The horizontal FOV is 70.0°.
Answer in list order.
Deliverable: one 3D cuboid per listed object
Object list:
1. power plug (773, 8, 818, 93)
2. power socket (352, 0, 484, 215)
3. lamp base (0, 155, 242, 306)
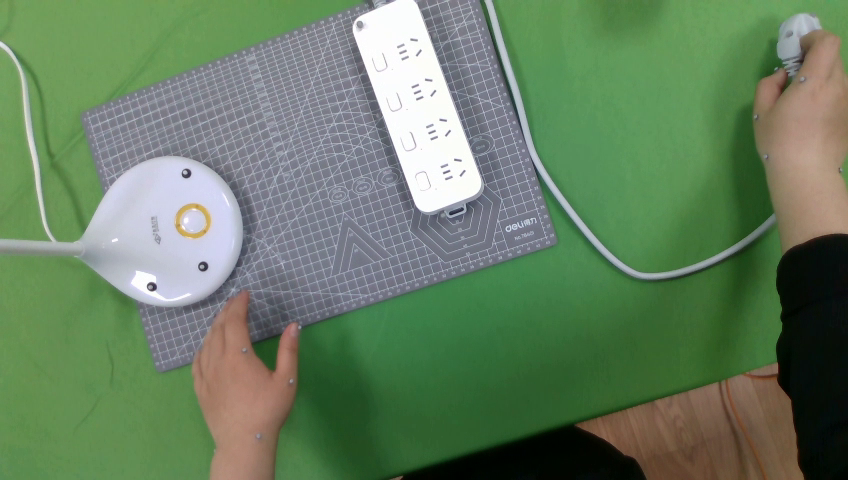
[{"bbox_3d":[0.341,-0.176,0.561,0.053,0.035,0.073,-17,113,-33],"label":"power plug"},{"bbox_3d":[-0.006,-0.134,0.606,0.072,0.032,0.226,-20,87,6],"label":"power socket"},{"bbox_3d":[-0.292,-0.006,0.569,0.179,0.180,0.160,-24,86,9],"label":"lamp base"}]
